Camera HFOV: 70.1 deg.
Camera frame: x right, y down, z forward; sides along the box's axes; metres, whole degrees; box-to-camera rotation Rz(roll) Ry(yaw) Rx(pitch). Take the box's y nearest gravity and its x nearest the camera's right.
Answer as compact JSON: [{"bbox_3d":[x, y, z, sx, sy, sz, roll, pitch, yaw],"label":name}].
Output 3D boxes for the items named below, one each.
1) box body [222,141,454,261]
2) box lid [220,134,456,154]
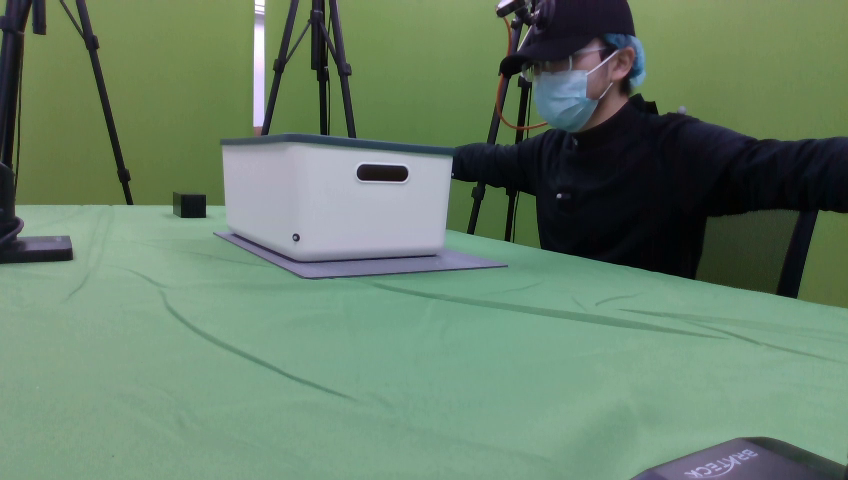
[{"bbox_3d":[-0.152,-0.074,0.963,0.255,0.160,0.362,-3,9,-33],"label":"box body"},{"bbox_3d":[-0.148,-0.147,0.951,0.265,0.015,0.369,-2,8,-33],"label":"box lid"}]
